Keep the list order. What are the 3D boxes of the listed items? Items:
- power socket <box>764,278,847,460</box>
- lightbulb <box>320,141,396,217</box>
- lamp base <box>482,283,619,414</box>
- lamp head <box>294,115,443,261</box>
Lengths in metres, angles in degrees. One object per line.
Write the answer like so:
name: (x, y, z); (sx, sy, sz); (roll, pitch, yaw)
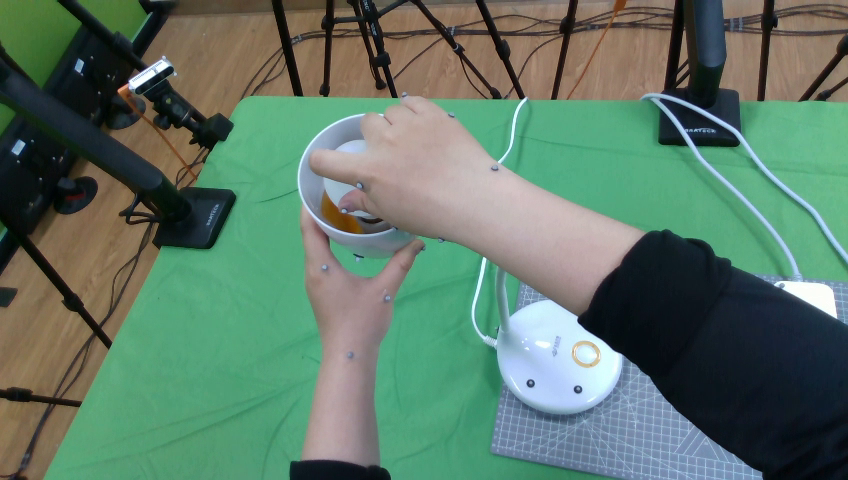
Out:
power socket: (0.457, 0.145, 0.728); (0.072, 0.033, 0.225); (5, 58, 15)
lightbulb: (-0.049, -0.042, 0.500); (0.059, 0.108, 0.059); (-2, 75, 7)
lamp base: (0.145, 0.108, 0.738); (0.178, 0.182, 0.159); (-1, 57, 16)
lamp head: (-0.041, -0.031, 0.528); (0.112, 0.124, 0.111); (-3, 66, 7)
